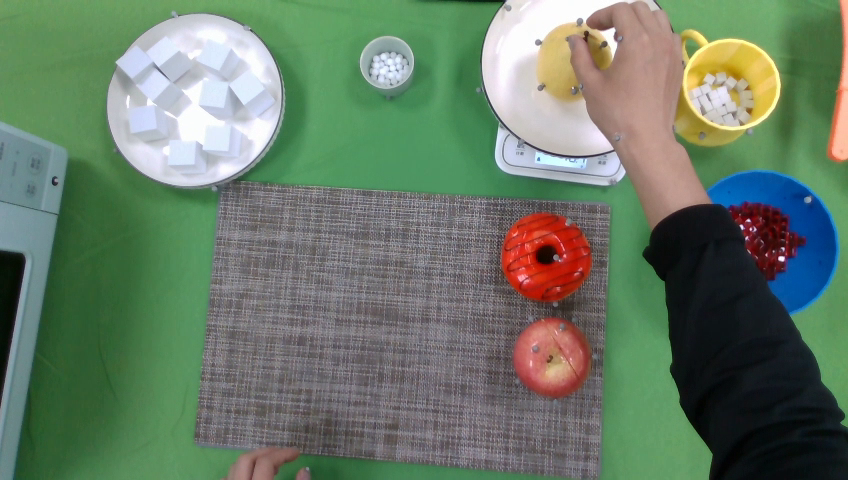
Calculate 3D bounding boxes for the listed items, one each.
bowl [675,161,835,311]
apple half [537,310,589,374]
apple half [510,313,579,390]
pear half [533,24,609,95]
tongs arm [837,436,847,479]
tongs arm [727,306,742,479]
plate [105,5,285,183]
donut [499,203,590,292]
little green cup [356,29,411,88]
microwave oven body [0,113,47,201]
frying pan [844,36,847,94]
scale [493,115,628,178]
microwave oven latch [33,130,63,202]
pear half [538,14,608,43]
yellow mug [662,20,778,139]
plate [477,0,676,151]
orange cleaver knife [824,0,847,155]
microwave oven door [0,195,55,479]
[{"bbox_3d":[0.331,-0.001,0.636,0.151,0.077,0.151,0,86,4],"label":"bowl"},{"bbox_3d":[0.151,0.099,0.634,0.033,0.081,0.081,-34,83,4],"label":"apple half"},{"bbox_3d":[0.119,0.122,0.635,0.053,0.075,0.080,-32,86,4],"label":"apple half"},{"bbox_3d":[0.149,-0.180,0.608,0.076,0.110,0.056,1,85,7],"label":"pear half"},{"bbox_3d":[0.428,0.274,0.634,0.028,0.028,0.387,19,86,-4],"label":"tongs arm"},{"bbox_3d":[0.342,0.260,0.634,0.051,0.026,0.384,4,86,-2],"label":"tongs arm"},{"bbox_3d":[-0.261,-0.166,0.705,0.207,0.039,0.207,0,85,3],"label":"plate"},{"bbox_3d":[0.130,0.008,0.660,0.099,0.048,0.099,-1,86,7],"label":"donut"},{"bbox_3d":[-0.044,-0.206,0.696,0.061,0.039,0.061,0,84,4],"label":"little green cup"},{"bbox_3d":[-0.610,0.065,0.590,0.326,0.261,0.440,6,86,4],"label":"microwave oven body"},{"bbox_3d":[0.626,-0.095,0.613,0.307,0.103,0.485,-23,76,2],"label":"frying pan"},{"bbox_3d":[0.162,-0.177,0.684,0.148,0.031,0.200,8,86,4],"label":"scale"},{"bbox_3d":[-0.436,-0.084,0.690,0.030,0.029,0.079,8,86,4],"label":"microwave oven latch"},{"bbox_3d":[0.152,-0.214,0.620,0.070,0.088,0.031,0,85,6],"label":"pear half"},{"bbox_3d":[0.309,-0.180,0.658,0.100,0.064,0.130,-29,83,1],"label":"yellow mug"},{"bbox_3d":[0.161,-0.195,0.653,0.209,0.038,0.208,0,85,3],"label":"plate"},{"bbox_3d":[0.449,-0.188,0.614,0.077,0.012,0.211,9,86,7],"label":"orange cleaver knife"},{"bbox_3d":[-0.470,0.123,0.571,0.039,0.244,0.355,6,85,5],"label":"microwave oven door"}]
